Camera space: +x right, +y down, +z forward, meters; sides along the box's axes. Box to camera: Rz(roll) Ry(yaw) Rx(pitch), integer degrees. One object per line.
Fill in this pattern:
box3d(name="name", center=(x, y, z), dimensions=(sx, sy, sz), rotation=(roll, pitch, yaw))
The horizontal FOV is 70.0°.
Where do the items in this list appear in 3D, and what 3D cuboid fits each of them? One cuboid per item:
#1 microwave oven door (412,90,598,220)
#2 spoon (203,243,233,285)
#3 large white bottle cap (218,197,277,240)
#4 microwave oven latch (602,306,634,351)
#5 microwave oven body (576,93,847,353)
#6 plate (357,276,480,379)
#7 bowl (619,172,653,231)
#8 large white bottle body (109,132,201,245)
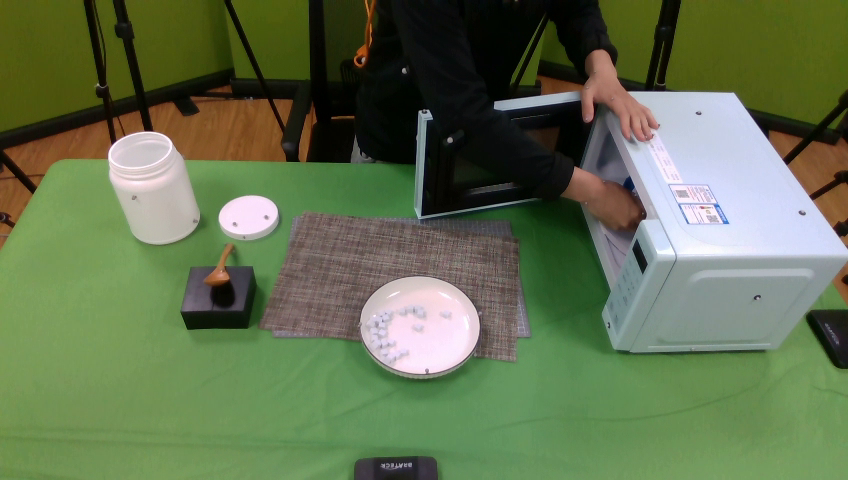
box3d(name="microwave oven door", center=(0.155, -0.167, 1.200), dimensions=(0.356, 0.245, 0.039), rotation=(-10, 47, -14))
box3d(name="spoon", center=(-0.360, 0.039, 1.087), dimensions=(0.041, 0.022, 0.192), rotation=(-5, 24, -7))
box3d(name="large white bottle cap", center=(-0.354, -0.045, 1.220), dimensions=(0.115, 0.018, 0.114), rotation=(2, 45, -2))
box3d(name="microwave oven latch", center=(0.332, 0.153, 1.044), dimensions=(0.030, 0.029, 0.078), rotation=(0, 45, -4))
box3d(name="microwave oven body", center=(0.475, -0.042, 1.109), dimensions=(0.326, 0.261, 0.438), rotation=(-1, 45, -4))
box3d(name="plate", center=(-0.010, 0.151, 1.038), dimensions=(0.209, 0.038, 0.208), rotation=(2, 47, -2))
box3d(name="bowl", center=(0.442, -0.058, 1.165), dimensions=(0.151, 0.077, 0.150), rotation=(2, 47, -2))
box3d(name="large white bottle body", center=(-0.506, -0.097, 1.141), dimensions=(0.131, 0.185, 0.130), rotation=(2, 46, -2))
